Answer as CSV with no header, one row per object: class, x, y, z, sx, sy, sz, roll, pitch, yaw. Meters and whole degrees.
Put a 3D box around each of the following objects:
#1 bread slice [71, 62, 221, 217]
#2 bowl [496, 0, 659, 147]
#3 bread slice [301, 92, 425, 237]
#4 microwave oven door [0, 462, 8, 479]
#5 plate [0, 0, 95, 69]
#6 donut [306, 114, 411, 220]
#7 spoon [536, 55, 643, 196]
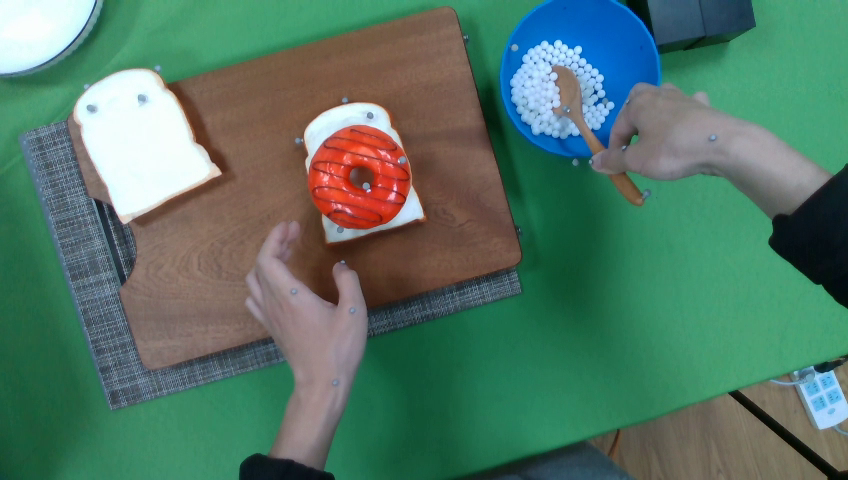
bread slice,-0.277,-0.102,0.589,0.107,0.018,0.134,-31,93,0
bowl,0.141,-0.163,0.595,0.151,0.076,0.151,0,94,-1
bread slice,-0.067,-0.077,0.597,0.105,0.019,0.131,-17,96,-1
microwave oven door,-0.486,0.139,0.500,0.039,0.243,0.356,-19,94,0
plate,-0.420,-0.271,0.594,0.208,0.039,0.207,0,94,-1
donut,-0.061,-0.068,0.568,0.099,0.048,0.099,0,95,-2
spoon,0.147,-0.107,0.550,0.022,0.191,0.041,25,124,-37
